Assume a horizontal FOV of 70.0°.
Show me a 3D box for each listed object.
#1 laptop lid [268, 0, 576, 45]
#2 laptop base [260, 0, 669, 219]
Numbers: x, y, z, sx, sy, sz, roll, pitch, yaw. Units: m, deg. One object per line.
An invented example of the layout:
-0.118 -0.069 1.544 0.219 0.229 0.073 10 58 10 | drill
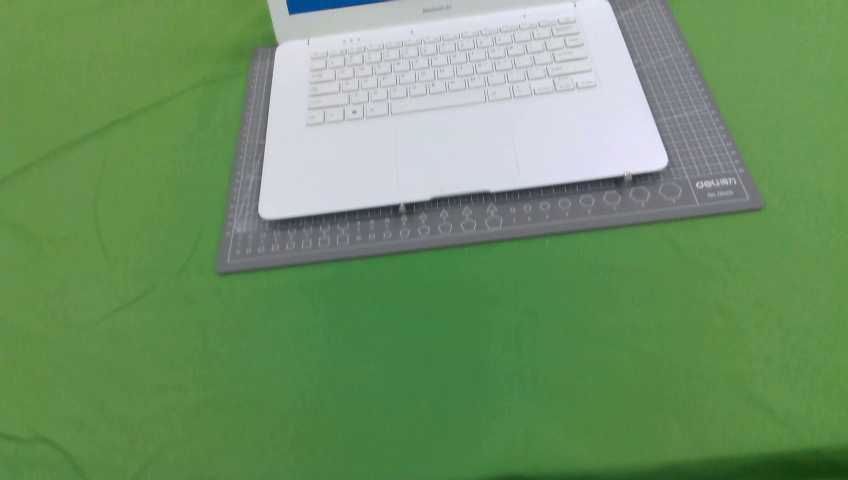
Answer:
0.002 -0.328 0.592 0.356 0.243 0.013 -8 27 4 | laptop lid
0.025 -0.131 0.580 0.354 0.023 0.233 -7 58 3 | laptop base
